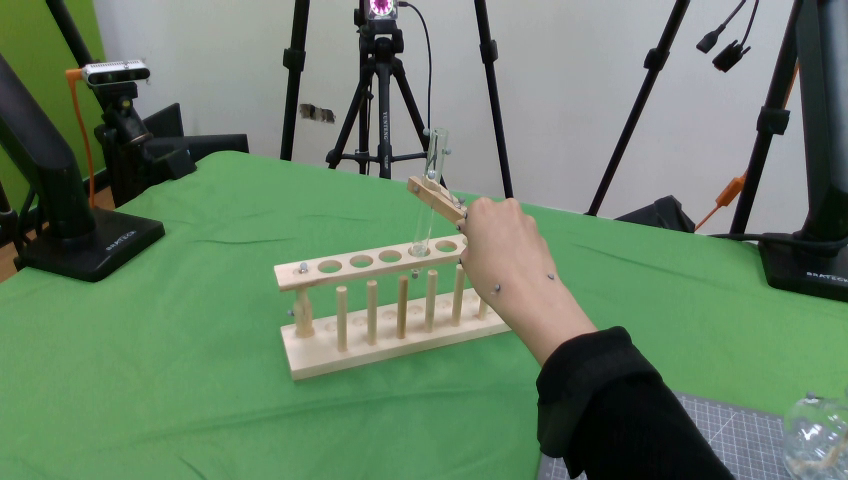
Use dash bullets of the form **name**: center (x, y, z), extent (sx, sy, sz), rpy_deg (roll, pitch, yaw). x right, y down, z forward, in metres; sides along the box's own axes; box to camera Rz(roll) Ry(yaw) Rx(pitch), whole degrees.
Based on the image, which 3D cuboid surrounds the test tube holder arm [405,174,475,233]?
- **test tube holder arm**: center (0.015, -0.033, 0.532), extent (0.010, 0.015, 0.087), rpy_deg (-25, 48, -37)

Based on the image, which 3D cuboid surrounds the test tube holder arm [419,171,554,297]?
- **test tube holder arm**: center (0.046, -0.011, 0.509), extent (0.013, 0.015, 0.176), rpy_deg (-18, 44, -31)

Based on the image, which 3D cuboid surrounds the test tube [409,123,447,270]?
- **test tube**: center (0.002, -0.035, 0.556), extent (0.017, 0.151, 0.017), rpy_deg (7, 32, -4)

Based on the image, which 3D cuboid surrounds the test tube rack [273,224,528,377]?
- **test tube rack**: center (-0.016, 0.054, 0.591), extent (0.243, 0.086, 0.066), rpy_deg (-10, 34, -19)

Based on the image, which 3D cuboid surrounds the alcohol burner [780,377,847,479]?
- **alcohol burner**: center (0.315, 0.134, 0.452), extent (0.078, 0.120, 0.077), rpy_deg (2, 34, -1)

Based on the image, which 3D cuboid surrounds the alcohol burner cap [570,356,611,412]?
- **alcohol burner cap**: center (0.147, 0.122, 0.528), extent (0.034, 0.048, 0.033), rpy_deg (2, 34, -1)
